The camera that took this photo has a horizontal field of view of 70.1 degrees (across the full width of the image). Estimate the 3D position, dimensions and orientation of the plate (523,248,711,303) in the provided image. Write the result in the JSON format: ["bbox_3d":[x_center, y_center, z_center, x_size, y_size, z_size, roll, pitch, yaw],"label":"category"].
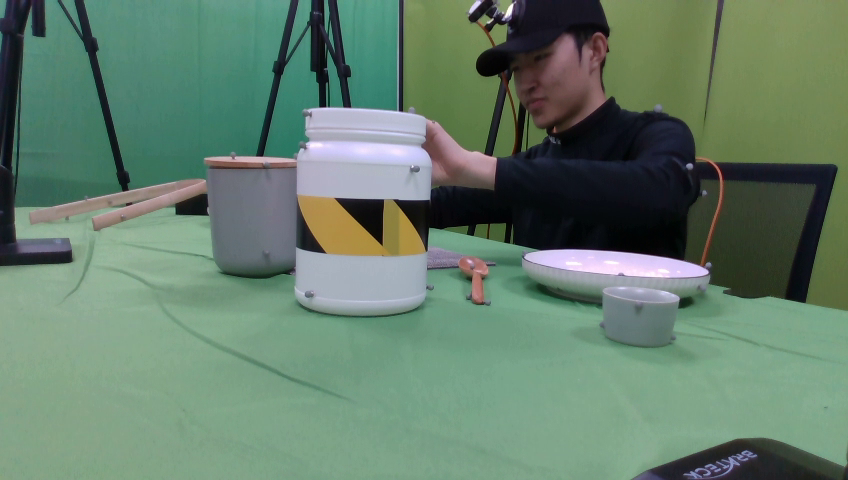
[{"bbox_3d":[0.219,0.041,0.706,0.209,0.038,0.209,2,7,0],"label":"plate"}]

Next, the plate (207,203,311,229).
[{"bbox_3d":[-0.342,-0.050,1.259,0.208,0.039,0.207,2,7,0],"label":"plate"}]

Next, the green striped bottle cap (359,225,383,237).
[{"bbox_3d":[-0.101,-0.016,1.138,0.044,0.020,0.044,-3,8,1],"label":"green striped bottle cap"}]

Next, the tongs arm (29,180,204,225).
[{"bbox_3d":[-0.609,-0.083,1.245,0.050,0.026,0.386,5,16,23],"label":"tongs arm"}]

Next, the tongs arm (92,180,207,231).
[{"bbox_3d":[-0.534,-0.076,1.221,0.028,0.028,0.388,-2,15,12],"label":"tongs arm"}]

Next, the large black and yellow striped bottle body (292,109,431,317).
[{"bbox_3d":[-0.060,-0.028,0.585,0.131,0.184,0.130,3,7,0],"label":"large black and yellow striped bottle body"}]

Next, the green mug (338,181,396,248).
[{"bbox_3d":[-0.097,-0.044,0.995,0.093,0.105,0.125,-1,8,-21],"label":"green mug"}]

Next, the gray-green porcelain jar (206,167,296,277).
[{"bbox_3d":[-0.201,-0.024,0.724,0.106,0.126,0.106,-1,9,1],"label":"gray-green porcelain jar"}]

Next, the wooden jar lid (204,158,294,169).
[{"bbox_3d":[-0.202,-0.086,0.714,0.108,0.020,0.108,3,11,0],"label":"wooden jar lid"}]

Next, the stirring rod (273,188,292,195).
[{"bbox_3d":[-0.354,-0.122,1.519,0.006,0.014,0.176,2,6,1],"label":"stirring rod"}]

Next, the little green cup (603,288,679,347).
[{"bbox_3d":[0.180,0.064,0.505,0.061,0.038,0.061,2,7,0],"label":"little green cup"}]

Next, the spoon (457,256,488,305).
[{"bbox_3d":[0.059,0.044,0.696,0.041,0.021,0.193,22,7,0],"label":"spoon"}]

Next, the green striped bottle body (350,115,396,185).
[{"bbox_3d":[-0.078,-0.127,0.900,0.063,0.063,0.119,1,-24,-8],"label":"green striped bottle body"}]

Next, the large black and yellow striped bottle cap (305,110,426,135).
[{"bbox_3d":[-0.055,-0.110,0.574,0.115,0.019,0.115,1,7,0],"label":"large black and yellow striped bottle cap"}]
